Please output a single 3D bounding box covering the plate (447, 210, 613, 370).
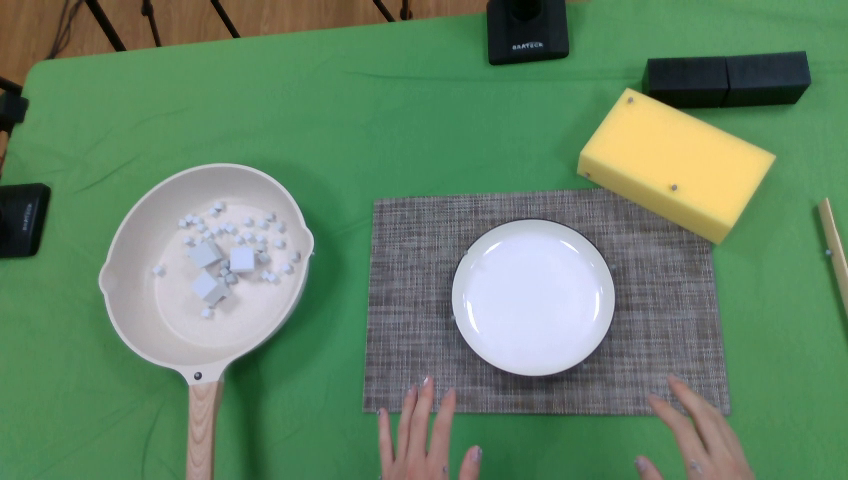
[{"bbox_3d":[0.134,0.064,0.781,0.207,0.039,0.206,-3,72,9],"label":"plate"}]

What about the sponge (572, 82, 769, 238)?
[{"bbox_3d":[0.317,-0.107,0.796,0.205,0.061,0.118,31,77,18],"label":"sponge"}]

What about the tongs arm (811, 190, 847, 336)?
[{"bbox_3d":[0.519,0.121,0.711,0.028,0.028,0.385,-7,72,5],"label":"tongs arm"}]

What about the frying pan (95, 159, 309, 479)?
[{"bbox_3d":[-0.289,0.123,0.799,0.306,0.103,0.483,-9,62,7],"label":"frying pan"}]
